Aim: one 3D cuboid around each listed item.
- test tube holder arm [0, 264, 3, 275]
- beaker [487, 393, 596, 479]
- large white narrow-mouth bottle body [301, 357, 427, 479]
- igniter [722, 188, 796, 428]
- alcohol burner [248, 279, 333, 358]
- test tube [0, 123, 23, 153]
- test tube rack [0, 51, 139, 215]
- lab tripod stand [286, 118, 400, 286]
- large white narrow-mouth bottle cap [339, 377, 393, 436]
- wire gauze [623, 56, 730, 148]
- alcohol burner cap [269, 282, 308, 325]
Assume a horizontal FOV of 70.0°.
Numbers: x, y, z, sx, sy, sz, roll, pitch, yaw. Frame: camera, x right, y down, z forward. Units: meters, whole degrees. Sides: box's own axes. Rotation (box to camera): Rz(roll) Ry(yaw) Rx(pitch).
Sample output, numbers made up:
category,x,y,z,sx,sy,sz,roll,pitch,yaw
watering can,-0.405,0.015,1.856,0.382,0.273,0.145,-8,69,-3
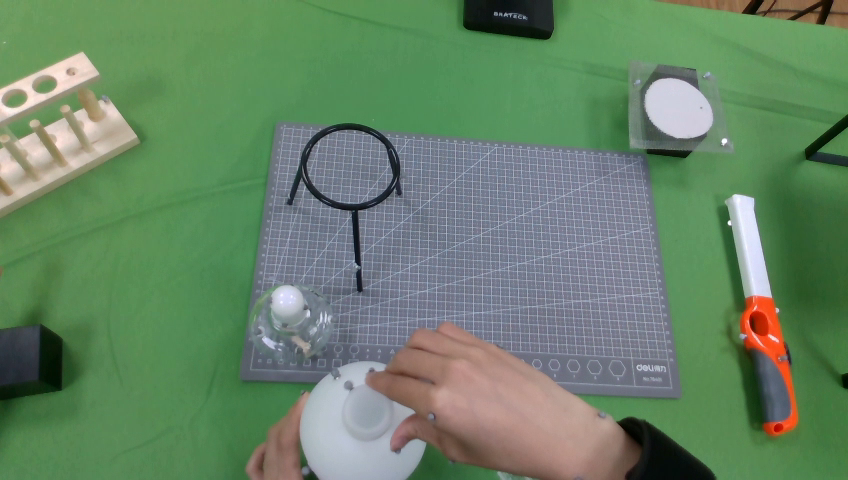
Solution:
category,x,y,z,sx,sy,sz,roll,pitch,yaw
test tube holder arm,-0.389,0.060,0.526,0.010,0.015,0.087,7,65,-4
beaker,0.098,0.183,0.550,0.084,0.101,0.073,30,66,7
large white narrow-mouth bottle body,-0.049,0.150,0.491,0.102,0.195,0.101,3,66,-6
igniter,0.371,0.068,0.676,0.057,0.025,0.274,9,66,-16
alcohol burner,-0.123,0.067,0.558,0.078,0.119,0.077,4,65,-8
test tube,-0.413,-0.128,0.565,0.017,0.151,0.017,4,61,-7
test tube rack,-0.422,-0.084,0.599,0.242,0.085,0.066,-36,75,-20
lab tripod stand,-0.073,-0.043,0.601,0.149,0.132,0.147,4,67,-8
large white narrow-mouth bottle cap,-0.040,0.113,0.410,0.038,0.024,0.037,3,66,-6
wire gauze,0.298,-0.164,0.724,0.122,0.011,0.124,5,67,-5
alcohol burner cap,-0.118,0.054,0.525,0.034,0.048,0.033,2,72,-6
